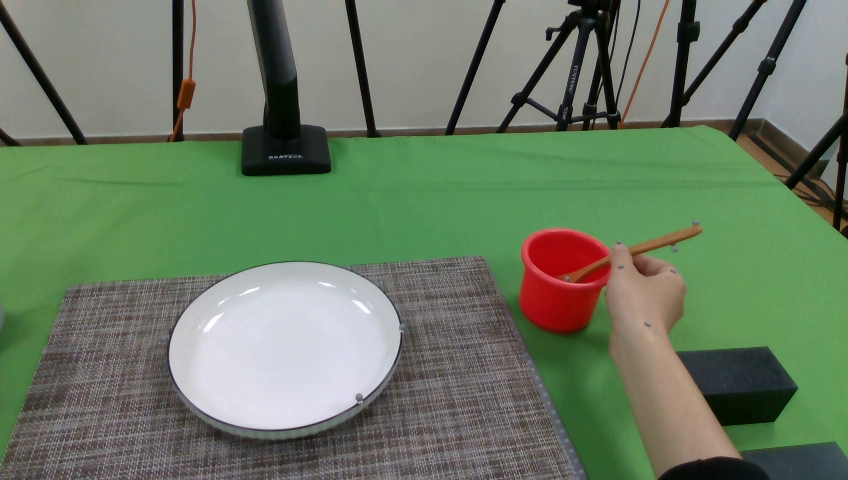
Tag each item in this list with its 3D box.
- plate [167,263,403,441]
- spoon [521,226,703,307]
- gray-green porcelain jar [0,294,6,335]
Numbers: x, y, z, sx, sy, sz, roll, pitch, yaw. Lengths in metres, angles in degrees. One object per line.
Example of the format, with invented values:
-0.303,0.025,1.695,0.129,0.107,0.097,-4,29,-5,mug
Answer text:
-0.125,0.101,0.563,0.208,0.039,0.205,4,38,-3,plate
0.186,0.027,0.619,0.193,0.022,0.041,-29,25,30,spoon
-0.437,0.046,0.524,0.106,0.127,0.105,4,38,-3,gray-green porcelain jar
